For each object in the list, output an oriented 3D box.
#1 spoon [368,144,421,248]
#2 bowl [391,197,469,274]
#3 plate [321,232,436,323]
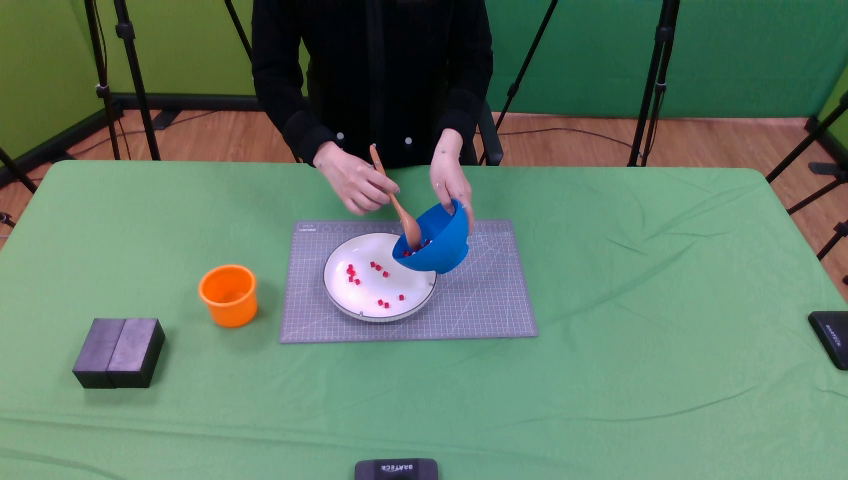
[{"bbox_3d":[-0.051,-0.072,1.016,0.021,0.194,0.041,-13,22,42],"label":"spoon"},{"bbox_3d":[0.024,0.006,1.042,0.077,0.151,0.151,48,46,-19],"label":"bowl"},{"bbox_3d":[-0.083,0.070,1.109,0.209,0.038,0.208,3,46,-2],"label":"plate"}]
